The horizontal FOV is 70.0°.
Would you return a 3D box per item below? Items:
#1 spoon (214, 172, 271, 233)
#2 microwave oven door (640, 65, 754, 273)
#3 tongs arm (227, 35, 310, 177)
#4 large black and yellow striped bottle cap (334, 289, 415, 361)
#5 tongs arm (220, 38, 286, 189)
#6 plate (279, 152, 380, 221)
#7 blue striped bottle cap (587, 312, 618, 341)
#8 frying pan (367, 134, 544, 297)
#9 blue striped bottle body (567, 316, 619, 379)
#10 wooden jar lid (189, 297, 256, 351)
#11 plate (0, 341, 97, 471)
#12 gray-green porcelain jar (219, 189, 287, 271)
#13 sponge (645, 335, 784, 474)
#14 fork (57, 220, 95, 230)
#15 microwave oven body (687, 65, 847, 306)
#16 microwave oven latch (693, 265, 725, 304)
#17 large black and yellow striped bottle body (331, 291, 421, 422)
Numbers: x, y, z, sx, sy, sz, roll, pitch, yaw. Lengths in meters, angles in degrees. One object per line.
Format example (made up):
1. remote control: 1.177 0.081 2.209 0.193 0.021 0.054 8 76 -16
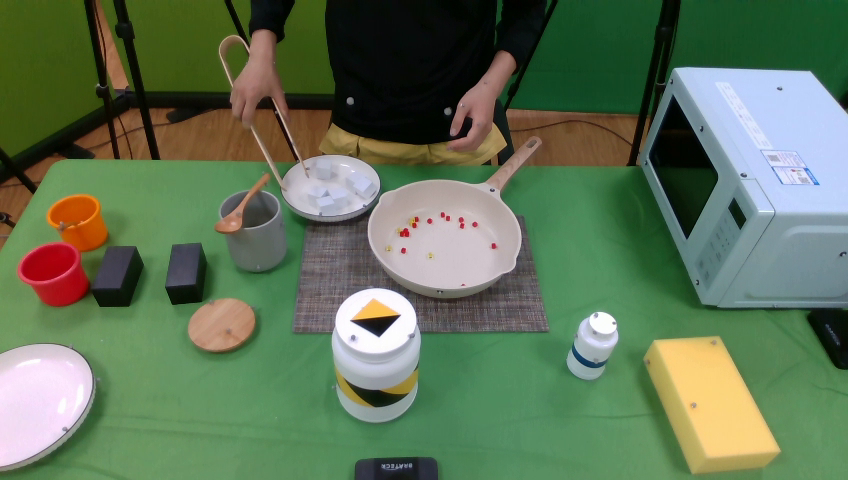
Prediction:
1. spoon: -0.312 -0.070 1.070 0.041 0.022 0.193 9 43 10
2. microwave oven door: 0.523 -0.147 1.193 0.039 0.245 0.353 0 47 -3
3. tongs arm: -0.329 -0.285 1.268 0.051 0.026 0.383 -27 72 4
4. large black and yellow striped bottle cap: -0.069 0.117 0.850 0.115 0.019 0.114 2 45 -2
5. tongs arm: -0.359 -0.268 1.269 0.028 0.028 0.385 -29 71 7
6. plate: -0.196 -0.107 1.269 0.208 0.039 0.206 2 45 -2
7. blue striped bottle cap: 0.279 0.134 0.947 0.044 0.021 0.044 2 45 -2
8. frying pan: 0.104 -0.069 1.205 0.305 0.103 0.487 32 61 23
9. blue striped bottle body: 0.276 0.168 0.984 0.063 0.121 0.062 2 46 -2
10. wooden jar lid: -0.342 0.145 1.033 0.108 0.021 0.107 2 45 -2
11. plate: -0.599 0.247 0.904 0.209 0.038 0.208 2 47 -2
12. gray-green porcelain jar: -0.310 -0.014 1.114 0.106 0.127 0.105 2 46 -2
13. sponge: 0.449 0.253 0.956 0.118 0.061 0.205 -4 46 -7
14. fork: -0.624 -0.027 1.086 0.028 0.018 0.207 -3 2 -17
15. microwave oven body: 0.669 -0.112 1.176 0.326 0.261 0.439 0 46 -3
16. microwave oven latch: 0.523 0.081 1.115 0.030 0.029 0.078 3 46 0
17. large black and yellow striped bottle body: -0.071 0.175 0.911 0.131 0.185 0.130 2 47 -2
